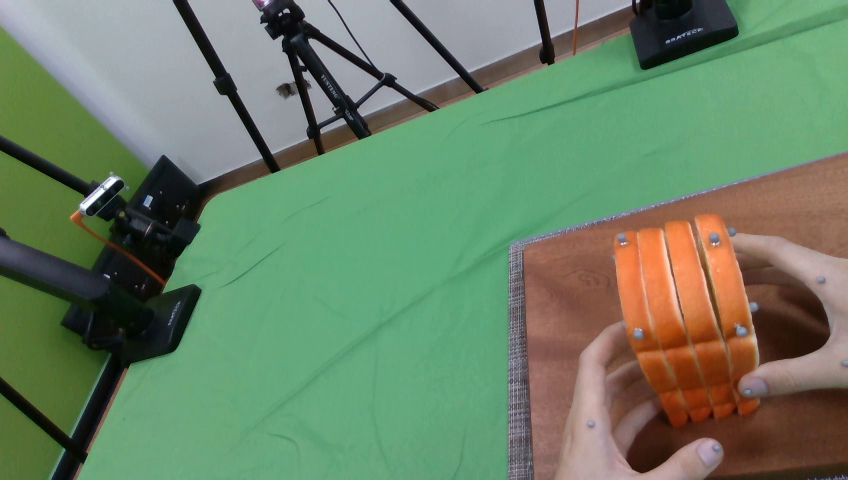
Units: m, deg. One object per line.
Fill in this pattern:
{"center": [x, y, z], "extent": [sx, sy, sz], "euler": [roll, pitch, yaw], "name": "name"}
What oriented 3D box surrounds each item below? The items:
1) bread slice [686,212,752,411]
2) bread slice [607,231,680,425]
{"center": [0.208, 0.046, 0.427], "extent": [0.019, 0.133, 0.104], "euler": [-13, 47, 20], "name": "bread slice"}
{"center": [0.163, 0.056, 0.449], "extent": [0.018, 0.136, 0.106], "euler": [-15, 41, 25], "name": "bread slice"}
